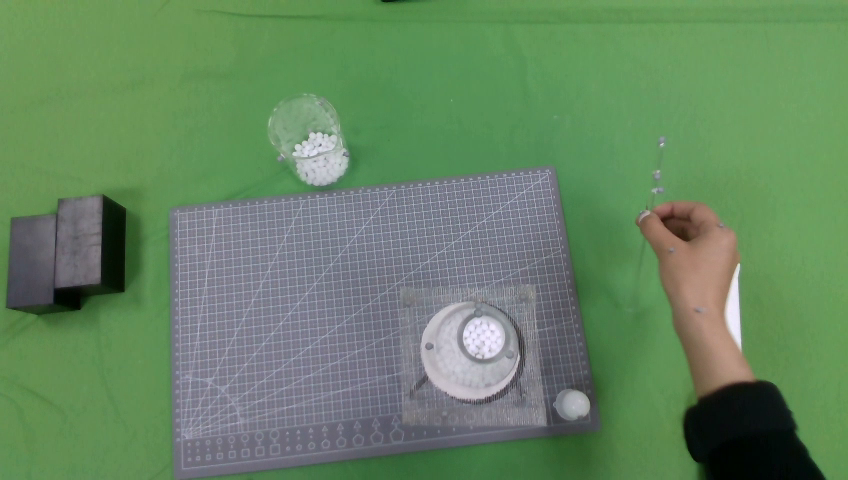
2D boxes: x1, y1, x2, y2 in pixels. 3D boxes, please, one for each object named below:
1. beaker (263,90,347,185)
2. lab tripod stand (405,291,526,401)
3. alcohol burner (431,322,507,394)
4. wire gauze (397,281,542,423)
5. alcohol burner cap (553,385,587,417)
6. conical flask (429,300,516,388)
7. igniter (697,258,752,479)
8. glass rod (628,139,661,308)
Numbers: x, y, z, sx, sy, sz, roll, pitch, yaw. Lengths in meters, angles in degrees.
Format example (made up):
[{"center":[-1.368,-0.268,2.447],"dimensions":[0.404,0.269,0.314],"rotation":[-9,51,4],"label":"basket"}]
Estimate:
[{"center":[-0.124,-0.107,0.670],"dimensions":[0.084,0.100,0.074],"rotation":[29,79,7],"label":"beaker"},{"center":[0.043,0.114,0.593],"dimensions":[0.148,0.132,0.147],"rotation":[0,78,1],"label":"lab tripod stand"},{"center":[0.044,0.118,0.602],"dimensions":[0.078,0.119,0.077],"rotation":[-1,76,3],"label":"alcohol burner"},{"center":[0.039,0.097,0.530],"dimensions":[0.125,0.011,0.121],"rotation":[0,79,-1],"label":"wire gauze"},{"center":[0.153,0.166,0.625],"dimensions":[0.034,0.048,0.033],"rotation":[0,76,2],"label":"alcohol burner cap"},{"center":[0.041,0.078,0.473],"dimensions":[0.075,0.122,0.075],"rotation":[0,78,1],"label":"conical flask"},{"center":[0.314,0.155,0.636],"dimensions":[0.057,0.025,0.275],"rotation":[7,76,-8],"label":"igniter"},{"center":[0.216,-0.008,0.598],"dimensions":[0.008,0.201,0.008],"rotation":[-3,36,3],"label":"glass rod"}]
